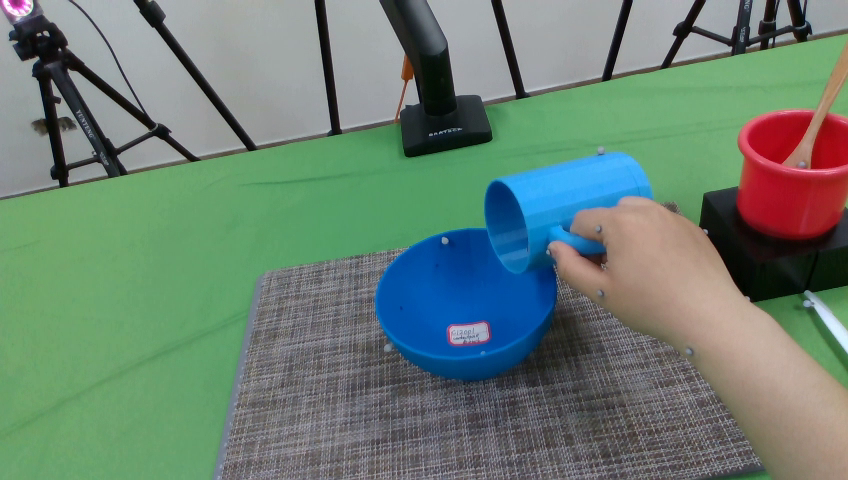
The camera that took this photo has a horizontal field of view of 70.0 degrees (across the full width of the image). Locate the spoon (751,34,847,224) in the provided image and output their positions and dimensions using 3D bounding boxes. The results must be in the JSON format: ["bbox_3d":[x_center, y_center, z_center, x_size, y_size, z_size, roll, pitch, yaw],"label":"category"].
[{"bbox_3d":[0.331,-0.102,0.508,0.041,0.022,0.194,28,99,40],"label":"spoon"}]

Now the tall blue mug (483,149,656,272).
[{"bbox_3d":[0.115,-0.026,0.464,0.108,0.077,0.107,-14,-4,-16],"label":"tall blue mug"}]

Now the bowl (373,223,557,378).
[{"bbox_3d":[0.038,0.064,0.516,0.151,0.077,0.150,-7,40,7],"label":"bowl"}]

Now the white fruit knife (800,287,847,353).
[{"bbox_3d":[0.336,0.105,0.445,0.027,0.016,0.205,11,36,-14],"label":"white fruit knife"}]
